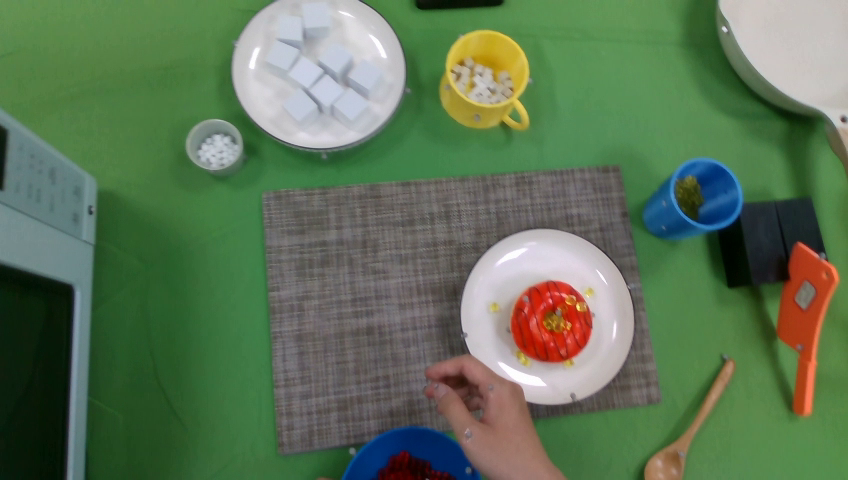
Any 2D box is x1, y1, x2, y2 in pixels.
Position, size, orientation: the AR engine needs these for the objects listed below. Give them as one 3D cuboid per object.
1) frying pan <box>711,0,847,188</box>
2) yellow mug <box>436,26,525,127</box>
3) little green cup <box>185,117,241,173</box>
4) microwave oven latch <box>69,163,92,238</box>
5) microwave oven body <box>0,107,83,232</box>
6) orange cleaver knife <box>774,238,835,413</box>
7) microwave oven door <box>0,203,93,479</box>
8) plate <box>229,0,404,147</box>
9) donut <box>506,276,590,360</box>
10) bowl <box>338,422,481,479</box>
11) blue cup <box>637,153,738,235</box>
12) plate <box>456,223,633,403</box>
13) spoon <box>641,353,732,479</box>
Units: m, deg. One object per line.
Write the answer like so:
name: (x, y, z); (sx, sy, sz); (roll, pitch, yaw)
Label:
frying pan: (0.522, -0.205, 0.779); (0.307, 0.103, 0.484); (0, 71, -5)
yellow mug: (0.078, -0.191, 0.748); (0.100, 0.064, 0.130); (-43, 87, -12)
little green cup: (-0.244, -0.108, 0.708); (0.062, 0.039, 0.061); (1, 80, -7)
microwave oven latch: (-0.382, -0.043, 0.663); (0.030, 0.029, 0.079); (-1, 80, -7)
microwave oven body: (-0.509, 0.117, 0.521); (0.327, 0.260, 0.440); (-2, 80, -7)
orange cleaver knife: (0.447, 0.104, 0.725); (0.012, 0.076, 0.212); (-6, 109, -7)
microwave oven door: (-0.361, 0.153, 0.526); (0.039, 0.244, 0.354); (-3, 79, -6)
plate: (-0.129, -0.209, 0.742); (0.208, 0.039, 0.206); (1, 79, -6)
donut: (0.143, 0.091, 0.700); (0.099, 0.048, 0.098); (1, 82, -6)
bowl: (-0.018, 0.267, 0.645); (0.151, 0.077, 0.150); (1, 79, -6)
blue cup: (0.306, -0.047, 0.727); (0.093, 0.100, 0.092); (2, 77, -7)
plate: (0.138, 0.084, 0.712); (0.209, 0.038, 0.208); (1, 80, -6)
spoon: (0.319, 0.213, 0.720); (0.041, 0.022, 0.193); (35, 77, 19)
